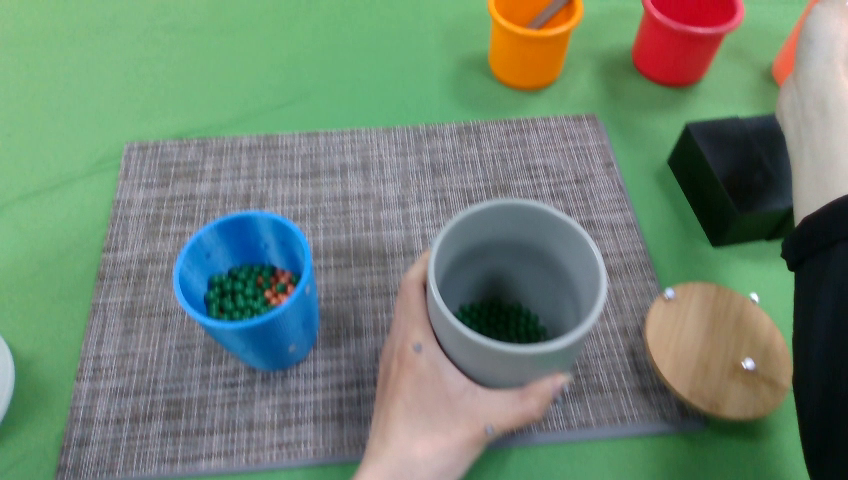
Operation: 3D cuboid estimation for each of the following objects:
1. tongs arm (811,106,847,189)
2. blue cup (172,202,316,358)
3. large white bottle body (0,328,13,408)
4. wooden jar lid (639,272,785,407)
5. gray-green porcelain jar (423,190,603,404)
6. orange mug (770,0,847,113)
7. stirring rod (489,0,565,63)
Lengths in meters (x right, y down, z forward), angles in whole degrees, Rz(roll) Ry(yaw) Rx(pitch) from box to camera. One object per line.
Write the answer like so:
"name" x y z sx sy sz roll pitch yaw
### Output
"tongs arm" 0.412 0.040 0.479 0.051 0.027 0.381 -1 58 -8
"blue cup" -0.114 0.037 0.422 0.092 0.101 0.092 0 58 0
"large white bottle body" -0.356 0.060 0.354 0.131 0.186 0.129 1 57 -1
"wooden jar lid" 0.214 0.075 0.457 0.108 0.021 0.107 3 55 -4
"gray-green porcelain jar" 0.052 0.045 0.406 0.106 0.127 0.105 1 57 -1
"orange mug" 0.411 -0.189 0.588 0.083 0.101 0.125 -5 53 -5
"stirring rod" 0.131 -0.235 0.587 0.176 0.006 0.014 -39 59 24
